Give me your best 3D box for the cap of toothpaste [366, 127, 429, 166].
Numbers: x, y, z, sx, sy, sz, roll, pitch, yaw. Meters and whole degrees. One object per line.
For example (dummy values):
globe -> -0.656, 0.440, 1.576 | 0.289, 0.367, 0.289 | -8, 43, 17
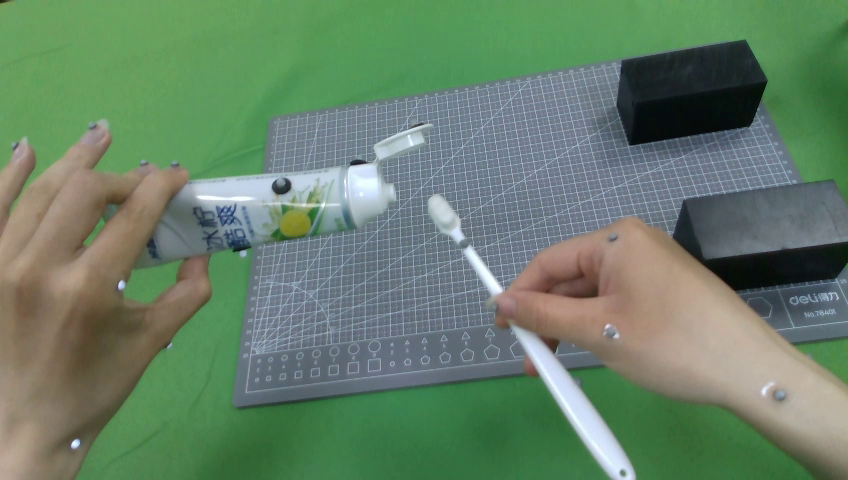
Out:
cap of toothpaste -> -0.013, -0.050, 0.324 | 0.037, 0.037, 0.011 | -22, 93, -3

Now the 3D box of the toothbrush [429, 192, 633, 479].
toothbrush -> 0.051, 0.045, 0.319 | 0.014, 0.017, 0.180 | -30, 70, -7

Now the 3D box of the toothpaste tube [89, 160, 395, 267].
toothpaste tube -> -0.098, -0.018, 0.334 | 0.165, 0.055, 0.034 | -8, 28, 5
